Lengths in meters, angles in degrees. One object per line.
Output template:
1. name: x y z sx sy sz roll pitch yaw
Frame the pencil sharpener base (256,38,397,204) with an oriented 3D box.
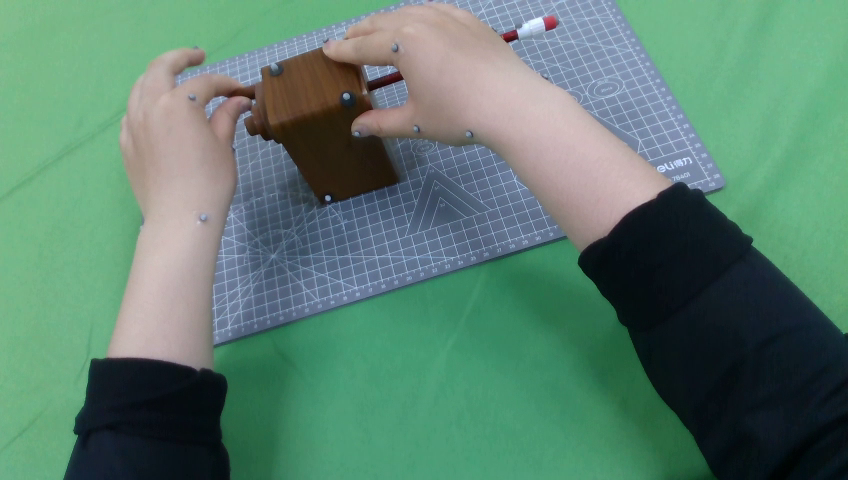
1. pencil sharpener base: -0.072 -0.085 0.460 0.077 0.108 0.061 -19 60 2

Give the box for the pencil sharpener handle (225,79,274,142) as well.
1. pencil sharpener handle: -0.129 -0.093 0.447 0.030 0.036 0.067 -19 51 2

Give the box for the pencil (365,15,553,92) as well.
1. pencil: -0.001 -0.123 0.432 0.194 0.012 0.012 -19 60 2
